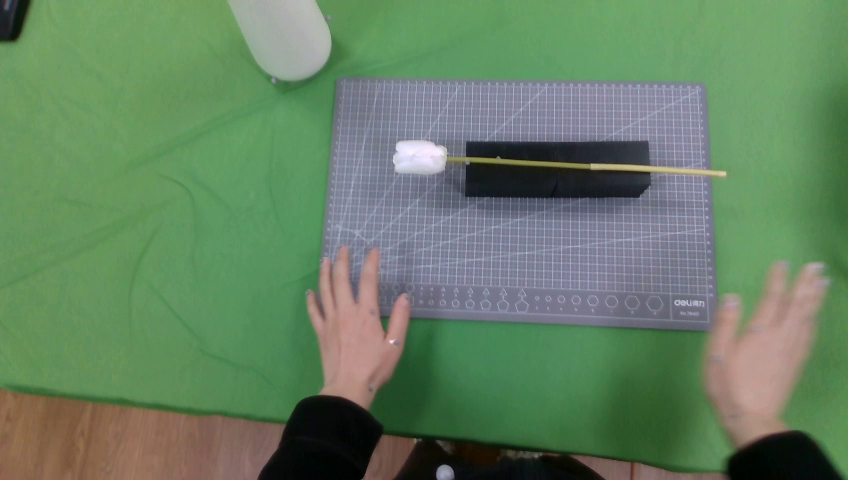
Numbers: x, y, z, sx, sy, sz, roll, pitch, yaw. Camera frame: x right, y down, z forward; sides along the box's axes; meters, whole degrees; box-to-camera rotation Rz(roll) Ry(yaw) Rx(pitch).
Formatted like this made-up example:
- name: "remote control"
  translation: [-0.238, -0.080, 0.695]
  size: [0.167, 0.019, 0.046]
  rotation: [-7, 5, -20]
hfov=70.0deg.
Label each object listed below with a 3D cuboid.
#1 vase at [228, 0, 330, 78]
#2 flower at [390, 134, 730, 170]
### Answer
- name: "vase"
  translation: [-0.168, -0.266, 0.675]
  size: [0.098, 0.201, 0.097]
  rotation: [-1, 75, 3]
- name: "flower"
  translation: [0.143, -0.089, 0.659]
  size: [0.361, 0.038, 0.043]
  rotation: [4, 43, 8]
